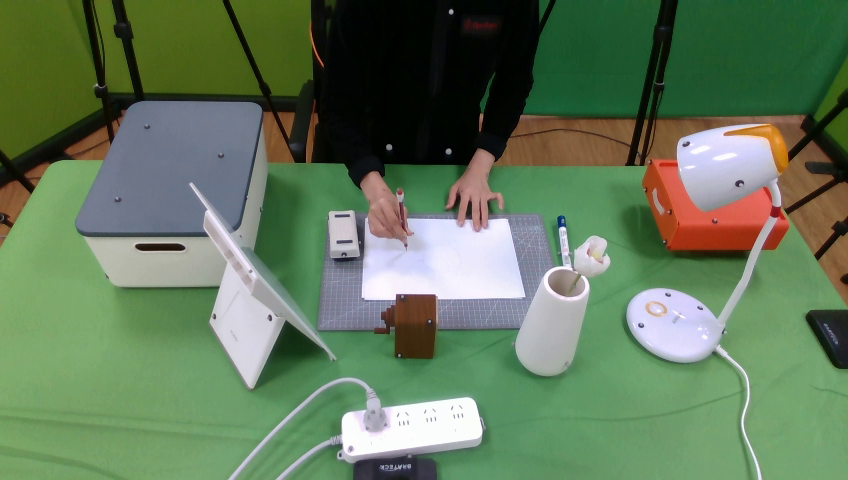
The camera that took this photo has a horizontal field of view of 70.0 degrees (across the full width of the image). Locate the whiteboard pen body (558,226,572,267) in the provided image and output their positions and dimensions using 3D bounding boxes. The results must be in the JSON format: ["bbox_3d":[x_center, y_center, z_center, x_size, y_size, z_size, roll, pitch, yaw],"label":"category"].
[{"bbox_3d":[0.280,0.010,1.208,0.017,0.017,0.140,3,50,-1],"label":"whiteboard pen body"}]

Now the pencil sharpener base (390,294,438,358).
[{"bbox_3d":[-0.018,0.143,1.000,0.077,0.107,0.061,1,46,-2],"label":"pencil sharpener base"}]

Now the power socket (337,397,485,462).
[{"bbox_3d":[-0.018,0.285,0.915,0.227,0.033,0.071,-5,46,-8],"label":"power socket"}]

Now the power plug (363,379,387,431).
[{"bbox_3d":[-0.072,0.252,0.910,0.035,0.053,0.072,3,45,-1],"label":"power plug"}]

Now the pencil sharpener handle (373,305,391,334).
[{"bbox_3d":[-0.069,0.133,0.989,0.030,0.068,0.036,1,47,-2],"label":"pencil sharpener handle"}]

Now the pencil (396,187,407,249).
[{"bbox_3d":[-0.039,-0.034,1.103,0.012,0.195,0.012,-1,57,2],"label":"pencil"}]

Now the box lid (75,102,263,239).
[{"bbox_3d":[-0.443,-0.138,1.094,0.263,0.015,0.369,-1,47,-5],"label":"box lid"}]

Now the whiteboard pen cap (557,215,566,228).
[{"bbox_3d":[0.284,-0.035,1.246,0.018,0.018,0.033,4,52,-1],"label":"whiteboard pen cap"}]

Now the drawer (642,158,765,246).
[{"bbox_3d":[0.565,-0.076,1.211,0.212,0.073,0.193,2,45,-2],"label":"drawer"}]

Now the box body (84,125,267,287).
[{"bbox_3d":[-0.446,-0.088,1.150,0.254,0.161,0.361,-1,46,-5],"label":"box body"}]

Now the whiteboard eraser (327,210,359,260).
[{"bbox_3d":[-0.158,-0.009,1.177,0.055,0.042,0.112,-5,47,-7],"label":"whiteboard eraser"}]

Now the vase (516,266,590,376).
[{"bbox_3d":[0.208,0.132,0.965,0.098,0.201,0.097,3,46,-3],"label":"vase"}]

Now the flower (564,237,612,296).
[{"bbox_3d":[0.206,0.088,0.893,0.038,0.363,0.044,-17,67,-9],"label":"flower"}]

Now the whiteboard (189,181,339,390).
[{"bbox_3d":[-0.292,0.096,0.929,0.144,0.307,0.216,-37,57,-10],"label":"whiteboard"}]

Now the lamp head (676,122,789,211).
[{"bbox_3d":[0.423,-0.104,0.819,0.122,0.113,0.112,-13,33,40],"label":"lamp head"}]

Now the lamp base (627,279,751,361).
[{"bbox_3d":[0.459,0.100,1.027,0.178,0.181,0.160,27,51,17],"label":"lamp base"}]

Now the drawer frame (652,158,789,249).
[{"bbox_3d":[0.571,-0.075,1.214,0.214,0.083,0.200,0,45,-1],"label":"drawer frame"}]
